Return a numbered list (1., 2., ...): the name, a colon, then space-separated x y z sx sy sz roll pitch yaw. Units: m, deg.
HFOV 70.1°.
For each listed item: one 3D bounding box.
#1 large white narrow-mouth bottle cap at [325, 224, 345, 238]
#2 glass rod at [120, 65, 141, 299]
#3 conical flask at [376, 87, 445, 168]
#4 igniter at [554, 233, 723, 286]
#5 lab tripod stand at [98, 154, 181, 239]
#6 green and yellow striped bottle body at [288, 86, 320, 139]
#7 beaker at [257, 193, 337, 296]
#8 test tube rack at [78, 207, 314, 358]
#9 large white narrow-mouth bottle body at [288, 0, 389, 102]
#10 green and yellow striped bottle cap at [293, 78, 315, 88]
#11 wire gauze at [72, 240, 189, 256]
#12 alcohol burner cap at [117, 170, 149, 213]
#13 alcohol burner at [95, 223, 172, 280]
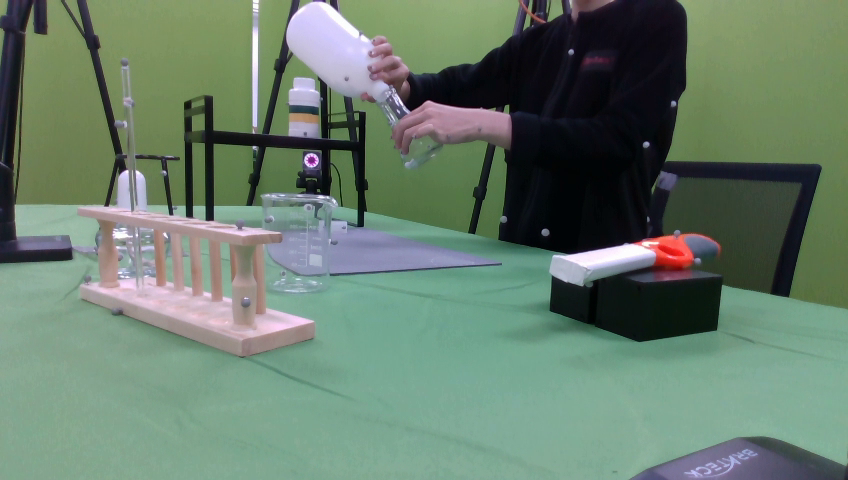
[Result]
1. large white narrow-mouth bottle cap: -0.160 -0.017 1.090 0.038 0.024 0.037 3 9 0
2. glass rod: -0.248 -0.047 0.513 0.008 0.199 0.008 -1 4 0
3. conical flask: -0.028 -0.180 0.956 0.075 0.122 0.075 -34 -2 -1
4. igniter: 0.214 0.015 0.570 0.278 0.025 0.057 -5 22 -44
5. lab tripod stand: -0.427 -0.066 0.942 0.148 0.131 0.148 1 6 0
6. green and yellow striped bottle body: -0.250 -0.272 1.261 0.063 0.119 0.063 3 7 0
7. beaker: -0.130 0.003 0.628 0.084 0.100 0.074 5 8 15
8. test tube rack: -0.196 0.024 0.500 0.241 0.085 0.067 8 8 37
9. large white narrow-mouth bottle body: -0.128 -0.295 0.984 0.194 0.101 0.102 46 24 17
10. green and yellow striped bottle cap: -0.248 -0.324 1.256 0.045 0.020 0.045 4 8 0
11. wire gauze: -0.399 0.013 0.820 0.126 0.011 0.121 -3 8 -37
12. alcohol burner cap: -0.320 -0.052 0.661 0.034 0.048 0.034 -3 0 0
13. alcohol burner: -0.320 -0.017 0.667 0.078 0.119 0.078 0 7 0
